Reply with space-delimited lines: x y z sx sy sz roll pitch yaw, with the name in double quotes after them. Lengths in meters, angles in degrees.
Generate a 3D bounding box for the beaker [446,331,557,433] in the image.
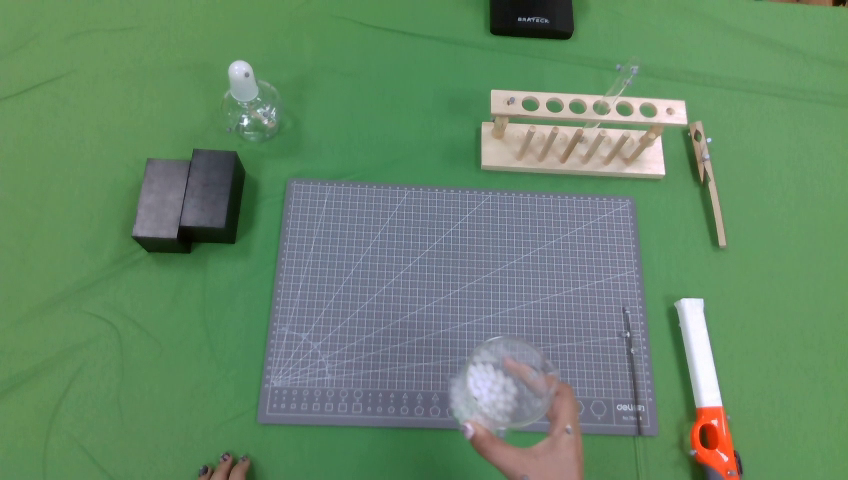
0.063 0.128 0.530 0.084 0.101 0.073 -8 69 -12 "beaker"

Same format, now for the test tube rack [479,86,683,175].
0.196 -0.138 0.775 0.242 0.085 0.066 3 69 -3 "test tube rack"

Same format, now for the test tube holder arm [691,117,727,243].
0.376 -0.081 0.802 0.013 0.015 0.177 -16 68 28 "test tube holder arm"

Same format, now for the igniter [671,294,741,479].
0.324 0.196 0.693 0.057 0.025 0.274 3 69 -14 "igniter"

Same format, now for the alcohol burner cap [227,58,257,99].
-0.215 -0.193 0.711 0.034 0.048 0.033 4 63 -8 "alcohol burner cap"

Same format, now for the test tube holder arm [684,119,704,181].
0.367 -0.122 0.819 0.010 0.015 0.087 -16 68 28 "test tube holder arm"

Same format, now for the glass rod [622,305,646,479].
0.243 0.172 0.702 0.008 0.008 0.198 2 69 -4 "glass rod"

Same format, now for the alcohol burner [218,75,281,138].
-0.218 -0.178 0.744 0.078 0.120 0.077 1 68 -2 "alcohol burner"

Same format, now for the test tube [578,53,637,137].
0.219 -0.172 0.737 0.017 0.151 0.017 3 65 -7 "test tube"
